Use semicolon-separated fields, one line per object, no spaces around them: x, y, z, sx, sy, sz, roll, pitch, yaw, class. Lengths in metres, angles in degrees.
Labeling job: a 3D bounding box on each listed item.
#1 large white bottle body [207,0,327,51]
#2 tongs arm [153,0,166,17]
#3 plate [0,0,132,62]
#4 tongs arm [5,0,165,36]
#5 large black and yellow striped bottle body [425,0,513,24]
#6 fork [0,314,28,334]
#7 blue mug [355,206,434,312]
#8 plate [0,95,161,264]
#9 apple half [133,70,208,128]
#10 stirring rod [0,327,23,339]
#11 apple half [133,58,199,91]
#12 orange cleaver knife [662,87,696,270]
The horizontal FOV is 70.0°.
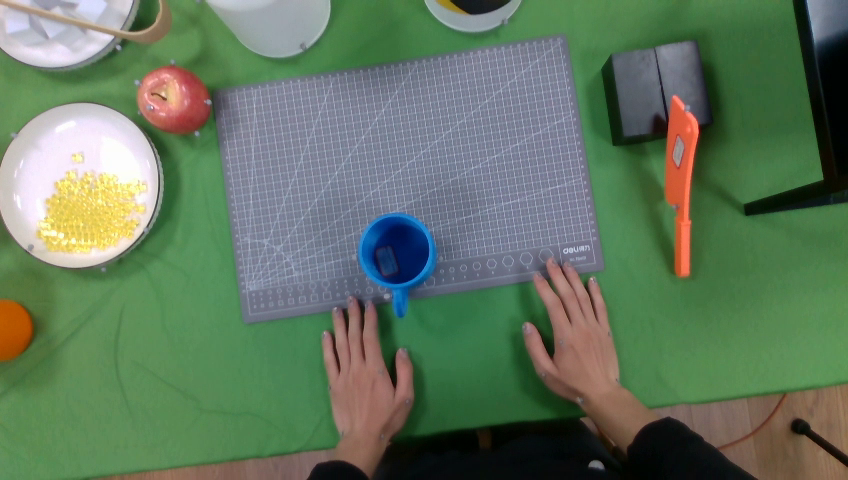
-0.191;-0.307;0.680;0.130;0.185;0.130;0;86;3;large white bottle body
-0.465;-0.387;0.738;0.387;0.028;0.028;34;83;5;tongs arm
-0.463;-0.324;0.765;0.207;0.039;0.207;0;88;2;plate
-0.501;-0.312;0.734;0.384;0.026;0.050;20;85;5;tongs arm
0.052;-0.337;0.672;0.131;0.184;0.130;0;87;3;large black and yellow striped bottle body
-0.578;0.093;0.695;0.209;0.018;0.028;12;85;-40;fork
-0.031;0.024;0.696;0.082;0.106;0.116;0;87;3;blue mug
-0.424;-0.074;0.752;0.209;0.038;0.209;0;88;3;plate
-0.300;-0.163;0.734;0.081;0.074;0.053;-23;90;-2;apple half
-0.567;0.112;0.696;0.177;0.006;0.014;2;74;-38;stirring rod
-0.315;-0.199;0.735;0.081;0.081;0.033;-23;91;1;apple half
0.290;-0.067;0.698;0.012;0.076;0.213;-9;118;2;orange cleaver knife
